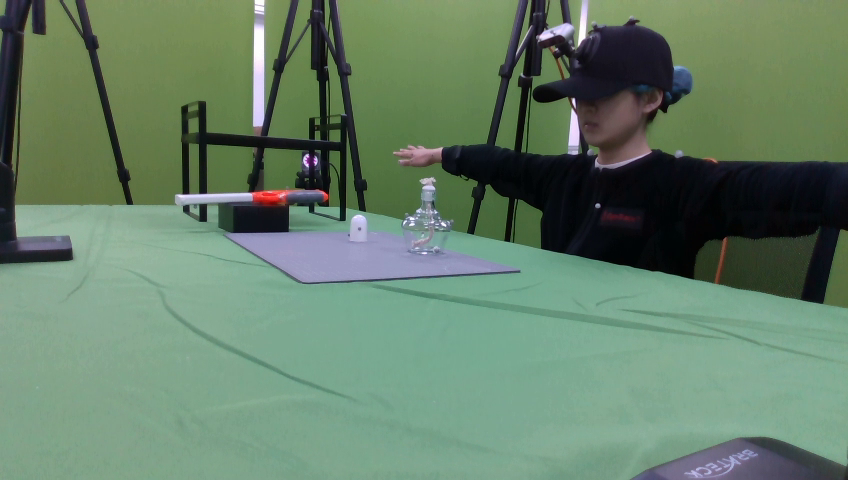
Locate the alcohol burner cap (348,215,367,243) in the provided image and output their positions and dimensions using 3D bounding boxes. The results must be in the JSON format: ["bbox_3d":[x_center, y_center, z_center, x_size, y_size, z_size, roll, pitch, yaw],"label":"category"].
[{"bbox_3d":[-0.112,-0.019,1.025,0.034,0.048,0.034,2,6,0],"label":"alcohol burner cap"}]

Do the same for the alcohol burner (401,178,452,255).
[{"bbox_3d":[0.005,-0.036,0.923,0.078,0.119,0.078,5,7,0],"label":"alcohol burner"}]

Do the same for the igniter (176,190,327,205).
[{"bbox_3d":[-0.316,-0.080,1.137,0.278,0.025,0.057,-4,13,-33],"label":"igniter"}]
